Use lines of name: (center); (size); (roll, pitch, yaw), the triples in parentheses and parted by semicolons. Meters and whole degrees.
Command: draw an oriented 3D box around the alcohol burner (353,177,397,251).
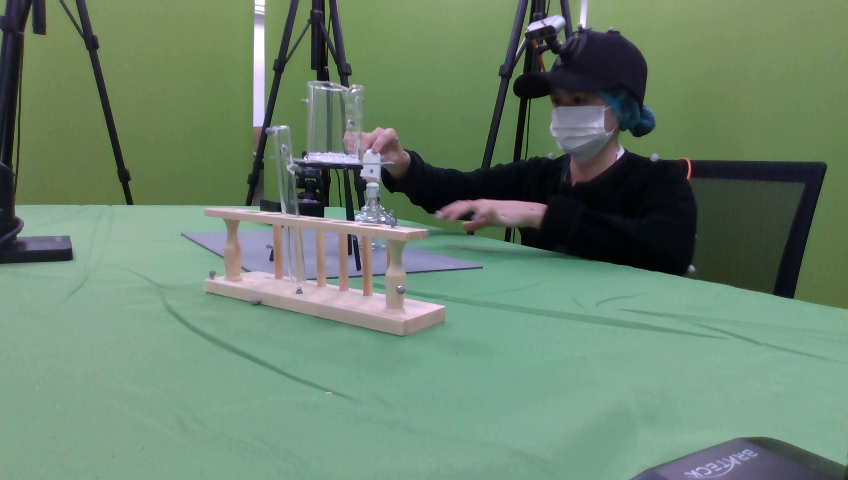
alcohol burner: (-0.082, -0.043, 0.950); (0.078, 0.119, 0.078); (1, 8, 0)

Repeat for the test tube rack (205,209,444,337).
test tube rack: (-0.100, 0.021, 0.565); (0.241, 0.085, 0.067); (7, 9, 32)

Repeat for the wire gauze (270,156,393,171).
wire gauze: (-0.122, -0.100, 0.786); (0.122, 0.011, 0.124); (-5, 14, -38)

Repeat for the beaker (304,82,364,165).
beaker: (-0.115, -0.148, 0.779); (0.074, 0.100, 0.083); (-2, 10, -30)

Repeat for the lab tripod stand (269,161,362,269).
lab tripod stand: (-0.125, -0.036, 0.794); (0.148, 0.131, 0.148); (5, 7, 0)

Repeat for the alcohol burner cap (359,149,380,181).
alcohol burner cap: (-0.083, -0.117, 0.944); (0.034, 0.048, 0.034); (6, 2, 0)

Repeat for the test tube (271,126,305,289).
test tube: (-0.124, -0.028, 0.554); (0.017, 0.150, 0.017); (-5, 7, 1)
